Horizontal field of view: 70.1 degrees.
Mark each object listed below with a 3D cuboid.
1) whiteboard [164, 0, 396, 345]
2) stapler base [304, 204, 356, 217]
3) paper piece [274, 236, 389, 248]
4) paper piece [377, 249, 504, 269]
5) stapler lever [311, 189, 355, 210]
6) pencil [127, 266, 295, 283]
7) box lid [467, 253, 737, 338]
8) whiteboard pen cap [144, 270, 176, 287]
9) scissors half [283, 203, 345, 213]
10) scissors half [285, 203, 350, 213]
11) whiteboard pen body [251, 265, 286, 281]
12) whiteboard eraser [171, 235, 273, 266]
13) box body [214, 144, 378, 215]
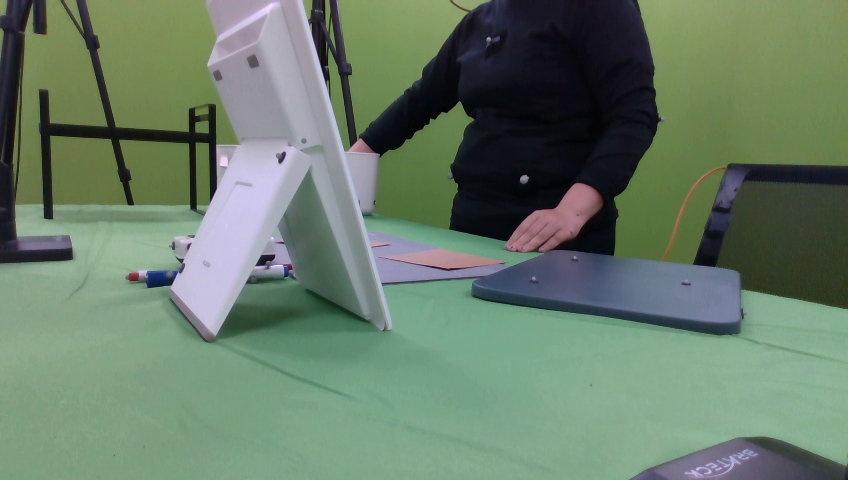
[{"bbox_3d":[-0.172,-0.053,0.511,0.144,0.305,0.216,-23,20,-26],"label":"whiteboard"},{"bbox_3d":[-0.232,-0.078,1.509,0.131,0.024,0.041,7,16,-36],"label":"stapler base"},{"bbox_3d":[-0.151,0.003,0.978,0.135,0.008,0.139,14,10,35],"label":"paper piece"},{"bbox_3d":[0.026,0.026,0.865,0.134,0.004,0.136,9,9,43],"label":"paper piece"},{"bbox_3d":[-0.225,-0.101,1.505,0.119,0.040,0.026,6,16,-35],"label":"stapler lever"},{"bbox_3d":[-0.231,0.037,0.691,0.195,0.012,0.012,-2,9,-34],"label":"pencil"},{"bbox_3d":[0.234,0.055,0.736,0.262,0.015,0.373,7,8,26],"label":"box lid"},{"bbox_3d":[-0.271,0.039,0.627,0.033,0.018,0.018,-3,9,-32],"label":"whiteboard pen cap"},{"bbox_3d":[-0.281,-0.080,1.552,0.176,0.013,0.040,-11,4,-41],"label":"scissors half"},{"bbox_3d":[-0.271,-0.079,1.534,0.176,0.013,0.040,-9,9,-24],"label":"scissors half"},{"bbox_3d":[-0.220,0.039,0.656,0.141,0.017,0.017,-2,9,-30],"label":"whiteboard pen body"},{"bbox_3d":[-0.248,0.014,0.747,0.113,0.042,0.055,-1,10,-32],"label":"whiteboard eraser"},{"bbox_3d":[-0.328,-0.154,1.543,0.366,0.160,0.253,-2,9,-32],"label":"box body"}]
